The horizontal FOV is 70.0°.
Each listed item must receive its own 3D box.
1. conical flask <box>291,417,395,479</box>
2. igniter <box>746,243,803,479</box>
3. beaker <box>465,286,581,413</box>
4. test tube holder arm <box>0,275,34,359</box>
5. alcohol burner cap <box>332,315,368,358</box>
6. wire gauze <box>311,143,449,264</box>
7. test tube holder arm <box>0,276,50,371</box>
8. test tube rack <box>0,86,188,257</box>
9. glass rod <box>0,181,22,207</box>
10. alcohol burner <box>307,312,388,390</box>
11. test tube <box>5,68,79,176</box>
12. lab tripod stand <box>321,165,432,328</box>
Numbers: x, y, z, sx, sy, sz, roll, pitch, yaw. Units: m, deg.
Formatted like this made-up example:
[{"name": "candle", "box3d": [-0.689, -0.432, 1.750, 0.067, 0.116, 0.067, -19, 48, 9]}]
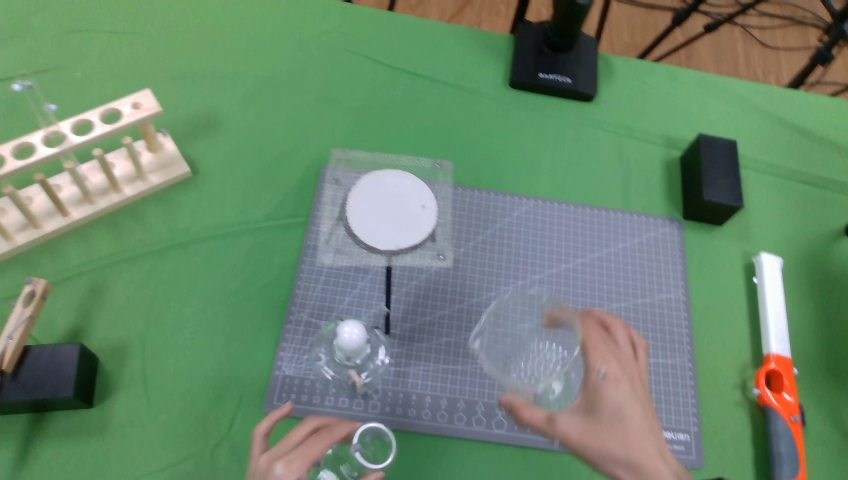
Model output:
[{"name": "conical flask", "box3d": [-0.064, 0.187, 0.519, 0.076, 0.122, 0.074, 15, 52, -20]}, {"name": "igniter", "box3d": [0.385, 0.130, 0.671, 0.057, 0.025, 0.274, 15, 63, -11]}, {"name": "beaker", "box3d": [0.083, 0.092, 0.477, 0.084, 0.101, 0.073, -7, 59, 15]}, {"name": "test tube holder arm", "box3d": [-0.379, 0.113, 0.530, 0.013, 0.015, 0.177, 11, 62, -2]}, {"name": "alcohol burner cap", "box3d": [-0.068, 0.085, 0.543, 0.034, 0.048, 0.033, 1, 67, -2]}, {"name": "wire gauze", "box3d": [-0.037, -0.034, 0.560, 0.122, 0.011, 0.124, 4, 65, -6]}, {"name": "test tube holder arm", "box3d": [-0.367, 0.075, 0.552, 0.010, 0.015, 0.087, 11, 62, -2]}, {"name": "test tube rack", "box3d": [-0.387, -0.066, 0.635, 0.242, 0.086, 0.066, -30, 71, -20]}, {"name": "glass rod", "box3d": [-0.433, -0.088, 0.565, 0.008, 0.201, 0.008, 1, 59, -1]}, {"name": "alcohol burner", "box3d": [-0.072, 0.100, 0.575, 0.078, 0.120, 0.077, 4, 62, -7]}, {"name": "test tube", "box3d": [-0.376, -0.111, 0.604, 0.017, 0.151, 0.017, 4, 58, -6]}, {"name": "lab tripod stand", "box3d": [-0.042, 0.001, 0.617, 0.149, 0.132, 0.147, 4, 64, -7]}]
